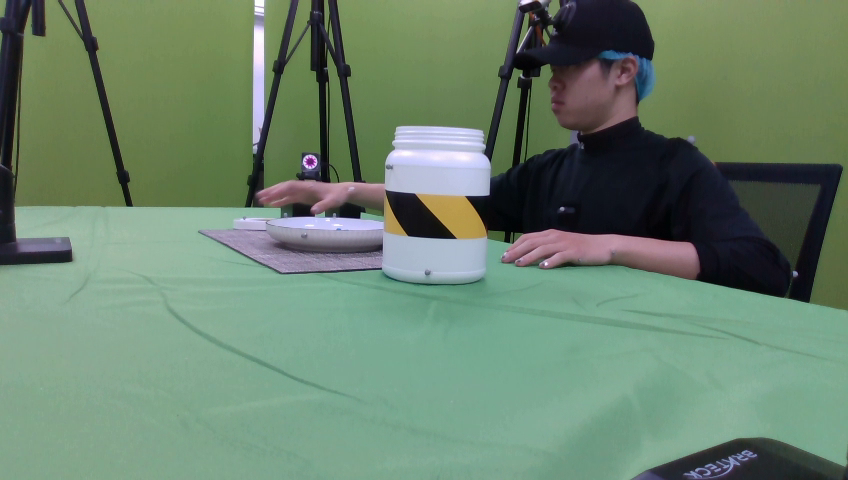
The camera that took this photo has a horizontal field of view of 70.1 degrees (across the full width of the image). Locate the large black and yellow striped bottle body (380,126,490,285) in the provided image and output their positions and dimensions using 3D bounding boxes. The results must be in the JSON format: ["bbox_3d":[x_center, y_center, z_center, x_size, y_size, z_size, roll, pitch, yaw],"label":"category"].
[{"bbox_3d":[0.014,-0.044,0.747,0.131,0.184,0.130,3,7,0],"label":"large black and yellow striped bottle body"}]

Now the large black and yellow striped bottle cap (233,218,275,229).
[{"bbox_3d":[-0.311,-0.032,1.172,0.115,0.019,0.115,1,3,0],"label":"large black and yellow striped bottle cap"}]

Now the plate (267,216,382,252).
[{"bbox_3d":[-0.144,-0.010,0.967,0.208,0.039,0.207,2,7,0],"label":"plate"}]
